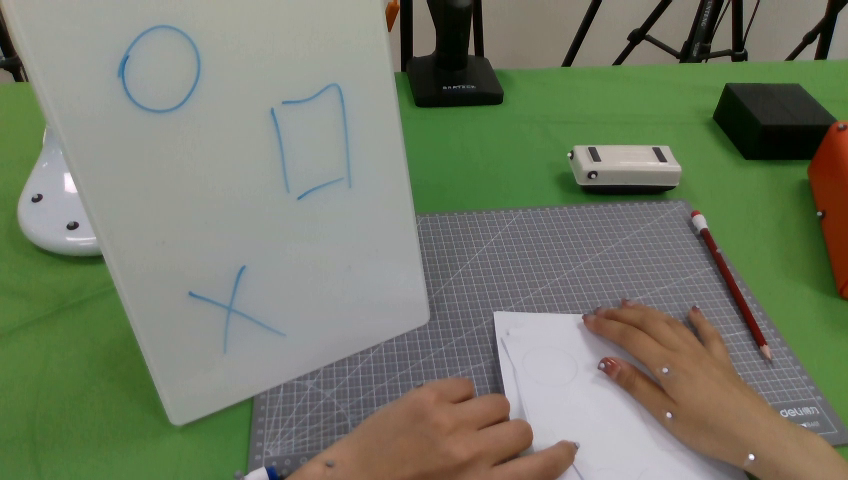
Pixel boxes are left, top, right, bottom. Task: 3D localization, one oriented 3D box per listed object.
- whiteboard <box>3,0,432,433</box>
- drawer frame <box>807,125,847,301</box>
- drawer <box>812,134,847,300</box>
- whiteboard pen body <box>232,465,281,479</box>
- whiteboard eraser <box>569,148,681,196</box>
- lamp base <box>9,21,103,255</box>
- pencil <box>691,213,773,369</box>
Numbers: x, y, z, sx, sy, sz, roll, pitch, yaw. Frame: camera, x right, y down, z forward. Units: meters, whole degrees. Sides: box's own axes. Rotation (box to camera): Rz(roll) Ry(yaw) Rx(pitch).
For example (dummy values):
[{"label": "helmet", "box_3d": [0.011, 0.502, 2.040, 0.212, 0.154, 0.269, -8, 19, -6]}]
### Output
[{"label": "whiteboard", "box_3d": [-0.137, -0.050, 0.472, 0.218, 0.308, 0.142, -19, 28, -22]}, {"label": "drawer frame", "box_3d": [0.513, -0.014, 0.600, 0.201, 0.083, 0.212, 12, 42, 11]}, {"label": "drawer", "box_3d": [0.514, -0.011, 0.598, 0.194, 0.074, 0.210, 13, 42, 11]}, {"label": "whiteboard pen body", "box_3d": [-0.161, 0.178, 0.386, 0.141, 0.017, 0.017, -17, 46, -23]}, {"label": "whiteboard eraser", "box_3d": [0.224, -0.076, 0.680, 0.113, 0.042, 0.055, 1, 43, -3]}, {"label": "lamp base", "box_3d": [-0.326, -0.103, 0.567, 0.178, 0.182, 0.160, 24, 46, 25]}, {"label": "pencil", "box_3d": [0.290, 0.041, 0.575, 0.012, 0.012, 0.192, 1, 45, -3]}]
